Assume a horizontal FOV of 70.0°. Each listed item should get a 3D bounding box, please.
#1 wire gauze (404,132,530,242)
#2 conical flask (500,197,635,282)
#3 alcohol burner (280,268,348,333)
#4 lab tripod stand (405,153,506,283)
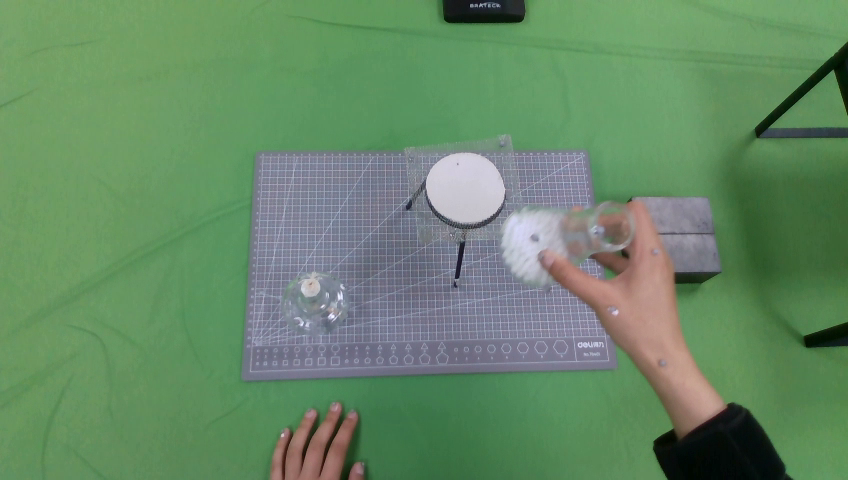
[{"bbox_3d":[0.046,-0.058,0.658,0.125,0.011,0.120,-6,72,-6],"label":"wire gauze"},{"bbox_3d":[0.119,-0.006,0.493,0.075,0.121,0.075,3,82,-19],"label":"conical flask"},{"bbox_3d":[-0.126,0.064,0.687,0.078,0.119,0.077,2,69,-5],"label":"alcohol burner"},{"bbox_3d":[0.044,-0.038,0.722,0.148,0.132,0.147,1,69,-3],"label":"lab tripod stand"}]
